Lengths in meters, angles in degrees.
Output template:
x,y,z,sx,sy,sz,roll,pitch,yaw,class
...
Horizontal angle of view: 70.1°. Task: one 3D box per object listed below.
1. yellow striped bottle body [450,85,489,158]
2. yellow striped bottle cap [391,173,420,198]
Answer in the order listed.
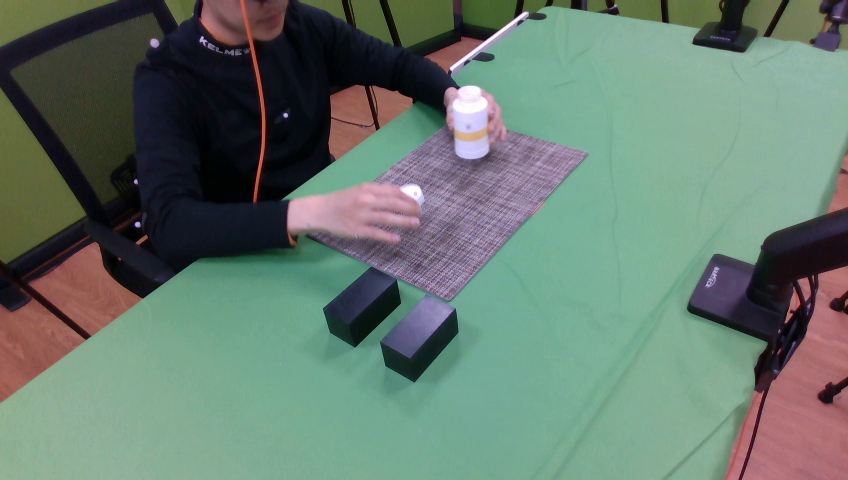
x,y,z,sx,sy,sz,roll,pitch,yaw,class
0.080,-0.210,1.063,0.063,0.121,0.062,-5,41,5,yellow striped bottle body
-0.028,-0.084,0.925,0.044,0.019,0.044,-3,39,3,yellow striped bottle cap
